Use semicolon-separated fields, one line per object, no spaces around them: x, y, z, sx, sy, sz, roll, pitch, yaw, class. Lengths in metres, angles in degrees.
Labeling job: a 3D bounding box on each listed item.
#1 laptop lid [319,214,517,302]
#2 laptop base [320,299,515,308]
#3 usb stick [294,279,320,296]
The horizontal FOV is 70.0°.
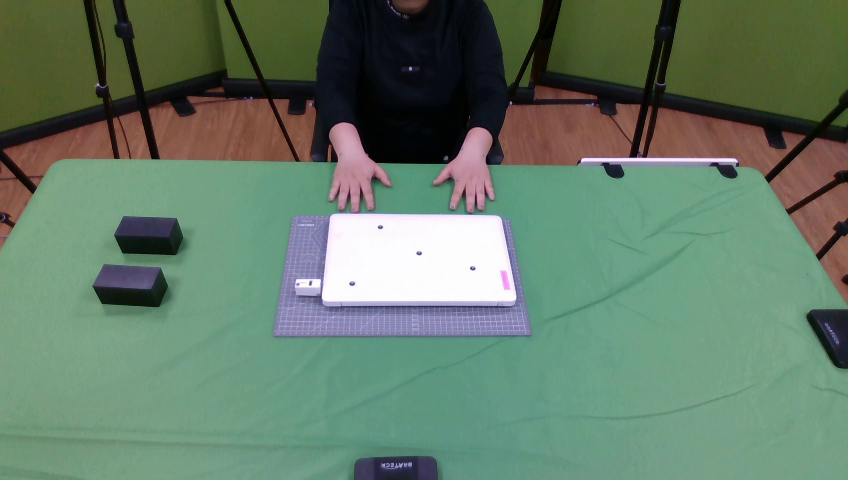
-0.012;0.029;1.154;0.357;0.013;0.240;2;43;-3;laptop lid
-0.013;0.039;1.161;0.355;0.023;0.234;0;43;-4;laptop base
-0.202;0.086;1.084;0.059;0.027;0.021;3;46;-5;usb stick
